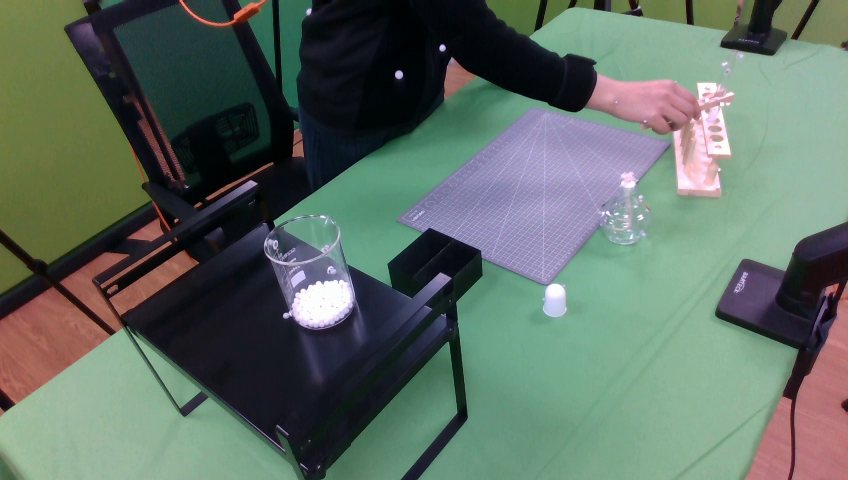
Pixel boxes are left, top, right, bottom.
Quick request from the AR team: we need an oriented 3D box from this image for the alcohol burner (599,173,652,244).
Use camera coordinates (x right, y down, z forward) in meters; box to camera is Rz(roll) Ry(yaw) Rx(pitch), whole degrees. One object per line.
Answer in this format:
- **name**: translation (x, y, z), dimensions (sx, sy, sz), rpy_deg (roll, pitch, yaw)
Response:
- **alcohol burner**: translation (0.308, -0.052, 0.920), dimensions (0.078, 0.119, 0.077), rpy_deg (-5, 42, 5)

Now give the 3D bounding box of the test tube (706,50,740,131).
- **test tube**: translation (0.486, -0.240, 0.993), dimensions (0.017, 0.151, 0.017), rpy_deg (-1, 44, 1)

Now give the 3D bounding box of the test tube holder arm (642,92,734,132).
- **test tube holder arm**: translation (0.427, -0.208, 0.977), dimensions (0.179, 0.015, 0.013), rpy_deg (-21, 41, -16)

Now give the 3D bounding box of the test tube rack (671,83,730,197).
- **test tube rack**: translation (0.483, -0.184, 1.067), dimensions (0.066, 0.085, 0.242), rpy_deg (5, 42, 15)

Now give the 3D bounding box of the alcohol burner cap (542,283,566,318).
- **alcohol burner cap**: translation (0.182, 0.081, 0.839), dimensions (0.034, 0.048, 0.033), rpy_deg (-3, 40, 3)

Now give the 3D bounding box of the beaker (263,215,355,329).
- **beaker**: translation (-0.112, 0.034, 0.616), dimensions (0.073, 0.101, 0.084), rpy_deg (13, 44, 23)

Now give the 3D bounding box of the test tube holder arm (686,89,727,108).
- **test tube holder arm**: translation (0.464, -0.228, 0.995), dimensions (0.088, 0.015, 0.010), rpy_deg (-26, 43, -21)
